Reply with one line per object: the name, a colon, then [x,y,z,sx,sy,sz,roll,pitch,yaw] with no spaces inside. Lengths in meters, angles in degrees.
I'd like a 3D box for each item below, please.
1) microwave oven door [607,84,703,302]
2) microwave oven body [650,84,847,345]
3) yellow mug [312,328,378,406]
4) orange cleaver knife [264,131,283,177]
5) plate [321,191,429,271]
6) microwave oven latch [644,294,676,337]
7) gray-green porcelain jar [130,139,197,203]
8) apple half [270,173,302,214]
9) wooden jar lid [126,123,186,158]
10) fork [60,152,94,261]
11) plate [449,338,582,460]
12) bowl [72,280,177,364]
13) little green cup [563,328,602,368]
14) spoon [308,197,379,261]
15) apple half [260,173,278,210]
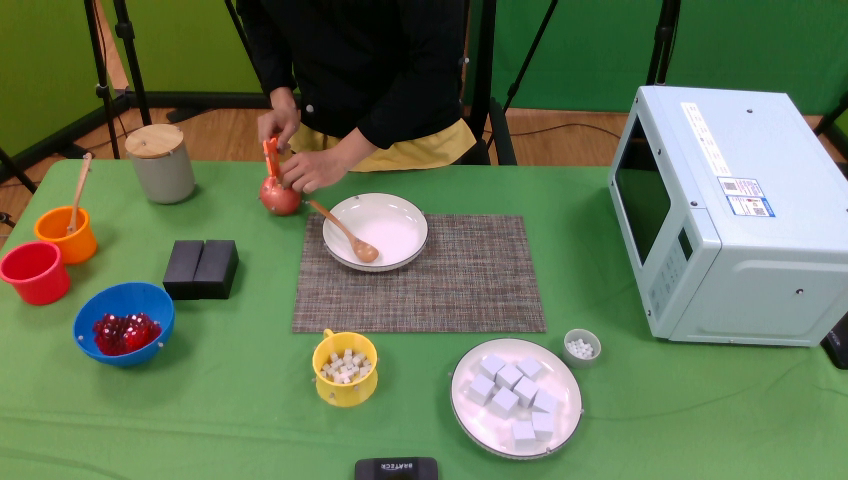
microwave oven door: [0.424,-0.096,1.138,0.039,0.245,0.353,3,46,-1]
microwave oven body: [0.569,-0.054,1.116,0.326,0.261,0.439,2,46,-1]
yellow mug: [-0.132,0.193,0.971,0.100,0.064,0.130,-22,51,-22]
orange cleaver knife: [-0.298,-0.175,1.211,0.012,0.077,0.210,-7,19,-3]
plate: [-0.094,-0.015,1.185,0.209,0.038,0.208,2,46,-2]
microwave oven latch: [0.411,0.132,1.061,0.030,0.029,0.078,1,46,-2]
gray-green porcelain jar: [-0.522,-0.147,1.225,0.106,0.127,0.105,2,47,-2]
apple half: [-0.275,-0.091,1.227,0.053,0.075,0.080,9,42,0]
wooden jar lid: [-0.519,-0.190,1.179,0.108,0.021,0.107,2,44,-2]
fork: [-0.638,-0.063,1.119,0.028,0.018,0.207,12,90,9]
plate: [0.141,0.251,0.956,0.208,0.039,0.206,2,46,-2]
bowl: [-0.473,0.147,0.982,0.151,0.077,0.150,2,46,-2]
little green cup: [0.266,0.185,1.025,0.061,0.039,0.061,1,45,-1]
spoon: [-0.158,-0.025,1.172,0.041,0.022,0.193,-40,72,-20]
apple half: [-0.315,-0.097,1.224,0.033,0.081,0.081,9,46,-4]
